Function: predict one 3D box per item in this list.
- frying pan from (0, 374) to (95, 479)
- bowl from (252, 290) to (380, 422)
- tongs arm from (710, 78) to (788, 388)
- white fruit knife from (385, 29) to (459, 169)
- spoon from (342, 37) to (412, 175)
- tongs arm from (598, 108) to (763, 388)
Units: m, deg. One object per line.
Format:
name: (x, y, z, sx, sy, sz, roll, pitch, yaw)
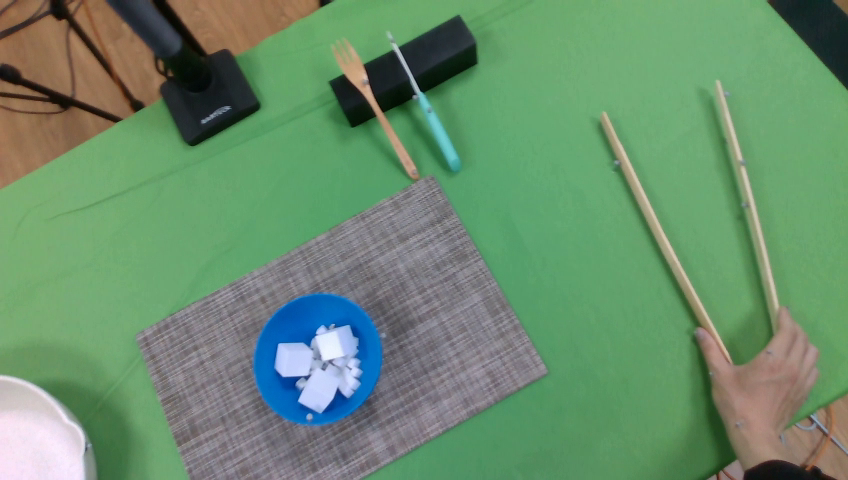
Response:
frying pan: (-0.485, 0.392, 0.691, 0.307, 0.103, 0.483, -30, 65, -1)
bowl: (-0.120, 0.141, 0.727, 0.151, 0.077, 0.150, -2, 74, 6)
tongs arm: (0.379, -0.019, 0.737, 0.051, 0.027, 0.382, -9, 74, 5)
white fruit knife: (-0.005, -0.189, 0.806, 0.016, 0.027, 0.207, -27, 88, -6)
spoon: (-0.060, -0.175, 0.803, 0.041, 0.021, 0.194, -20, 94, 24)
tongs arm: (0.302, 0.001, 0.744, 0.028, 0.028, 0.385, -21, 73, -2)
